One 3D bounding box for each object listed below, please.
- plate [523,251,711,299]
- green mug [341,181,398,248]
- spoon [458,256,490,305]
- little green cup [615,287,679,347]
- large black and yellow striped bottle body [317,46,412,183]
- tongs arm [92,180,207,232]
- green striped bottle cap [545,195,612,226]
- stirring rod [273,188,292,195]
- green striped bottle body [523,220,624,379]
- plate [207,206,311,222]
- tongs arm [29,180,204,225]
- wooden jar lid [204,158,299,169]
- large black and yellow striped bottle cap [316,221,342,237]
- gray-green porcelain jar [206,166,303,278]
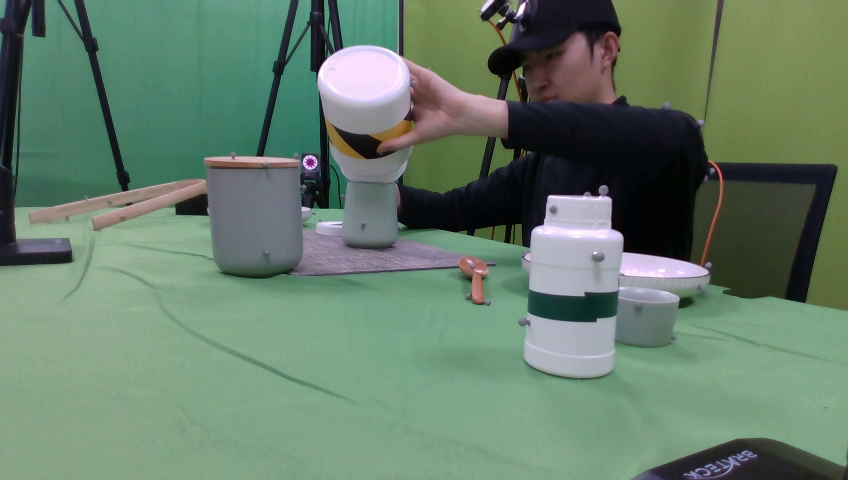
[{"bbox_3d":[0.219,0.041,0.706,0.209,0.038,0.209,2,7,0],"label":"plate"},{"bbox_3d":[-0.090,-0.044,0.996,0.093,0.105,0.125,1,7,-10],"label":"green mug"},{"bbox_3d":[0.059,0.044,0.695,0.041,0.021,0.194,18,7,1],"label":"spoon"},{"bbox_3d":[0.180,0.064,0.506,0.061,0.038,0.061,2,8,0],"label":"little green cup"},{"bbox_3d":[-0.084,-0.180,0.910,0.131,0.130,0.184,3,-37,3],"label":"large black and yellow striped bottle body"},{"bbox_3d":[-0.534,-0.076,1.221,0.028,0.028,0.388,-2,15,12],"label":"tongs arm"},{"bbox_3d":[0.106,-0.020,0.414,0.044,0.020,0.044,2,4,0],"label":"green striped bottle cap"},{"bbox_3d":[-0.354,-0.122,1.519,0.006,0.014,0.176,2,6,1],"label":"stirring rod"},{"bbox_3d":[0.104,0.031,0.422,0.063,0.119,0.063,2,7,0],"label":"green striped bottle body"},{"bbox_3d":[-0.342,-0.050,1.259,0.208,0.039,0.207,2,7,0],"label":"plate"},{"bbox_3d":[-0.609,-0.083,1.245,0.050,0.026,0.386,5,16,23],"label":"tongs arm"},{"bbox_3d":[-0.202,-0.086,0.714,0.108,0.020,0.108,3,11,0],"label":"wooden jar lid"},{"bbox_3d":[-0.147,-0.021,1.147,0.115,0.019,0.115,2,9,0],"label":"large black and yellow striped bottle cap"},{"bbox_3d":[-0.201,-0.024,0.724,0.106,0.126,0.106,-1,9,1],"label":"gray-green porcelain jar"}]
